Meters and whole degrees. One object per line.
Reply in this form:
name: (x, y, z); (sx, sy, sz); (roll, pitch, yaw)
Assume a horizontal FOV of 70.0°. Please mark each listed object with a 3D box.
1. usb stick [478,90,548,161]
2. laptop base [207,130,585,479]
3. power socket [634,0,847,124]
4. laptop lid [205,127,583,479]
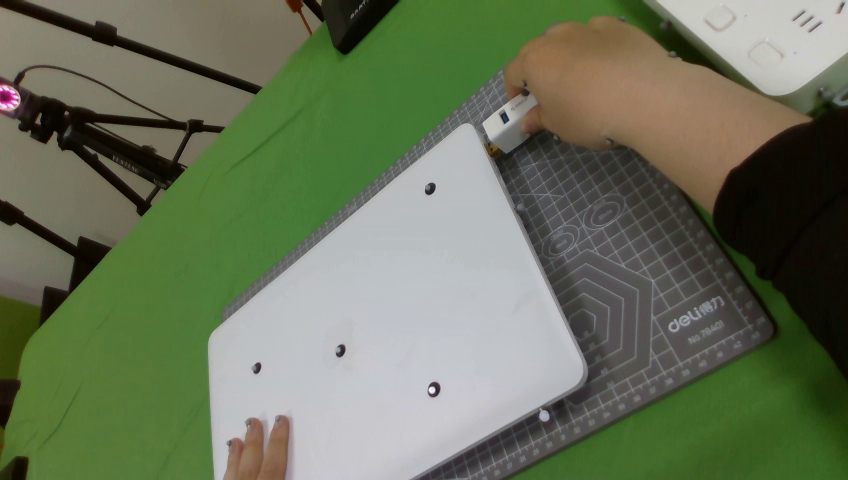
usb stick: (0.061, -0.081, 0.450); (0.059, 0.027, 0.021); (-40, 48, 28)
laptop base: (-0.058, 0.096, 0.488); (0.354, 0.023, 0.233); (-38, 51, 23)
power socket: (0.187, -0.157, 0.380); (0.072, 0.033, 0.224); (-40, 47, 20)
laptop lid: (-0.065, 0.093, 0.478); (0.357, 0.013, 0.239); (-36, 50, 24)
